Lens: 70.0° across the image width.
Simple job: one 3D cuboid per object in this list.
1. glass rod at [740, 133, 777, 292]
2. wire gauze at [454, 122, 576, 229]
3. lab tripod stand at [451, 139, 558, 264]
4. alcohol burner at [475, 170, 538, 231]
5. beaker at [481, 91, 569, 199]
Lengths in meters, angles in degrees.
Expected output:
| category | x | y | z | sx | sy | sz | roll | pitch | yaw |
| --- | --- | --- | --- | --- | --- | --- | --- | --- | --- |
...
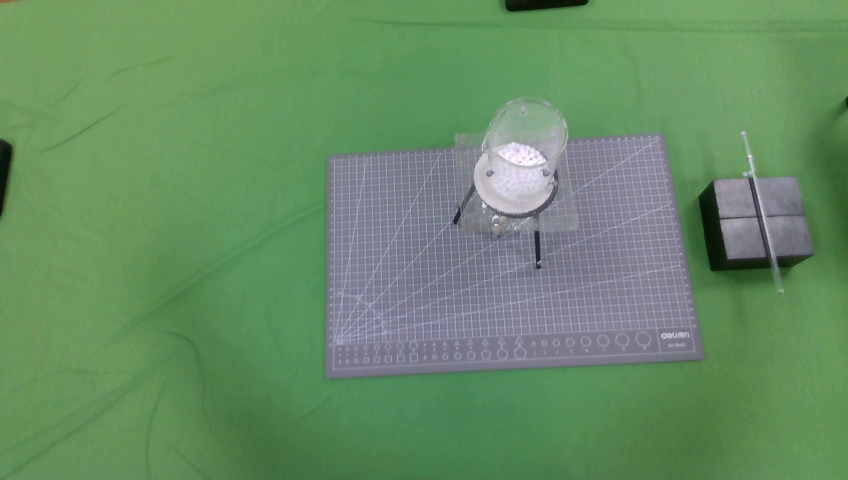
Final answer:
| category | x | y | z | sx | sy | sz | roll | pitch | yaw |
| --- | --- | --- | --- | --- | --- | --- | --- | --- | --- |
| glass rod | 0.393 | -0.036 | 0.713 | 0.008 | 0.008 | 0.198 | -3 | 73 | 3 |
| wire gauze | 0.097 | -0.069 | 0.651 | 0.125 | 0.011 | 0.120 | -2 | 73 | 0 |
| lab tripod stand | 0.104 | -0.053 | 0.715 | 0.148 | 0.132 | 0.147 | -1 | 71 | 4 |
| alcohol burner | 0.100 | -0.054 | 0.726 | 0.078 | 0.120 | 0.077 | -1 | 74 | 2 |
| beaker | 0.096 | -0.088 | 0.607 | 0.084 | 0.101 | 0.073 | -19 | 72 | -3 |
